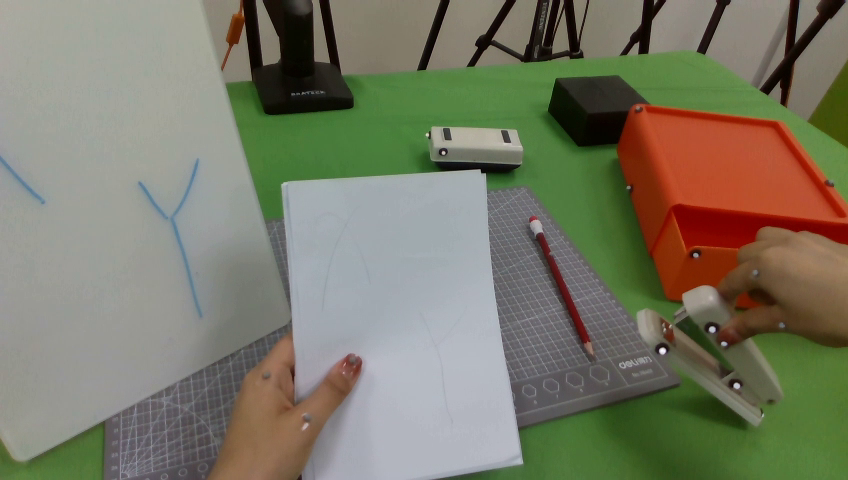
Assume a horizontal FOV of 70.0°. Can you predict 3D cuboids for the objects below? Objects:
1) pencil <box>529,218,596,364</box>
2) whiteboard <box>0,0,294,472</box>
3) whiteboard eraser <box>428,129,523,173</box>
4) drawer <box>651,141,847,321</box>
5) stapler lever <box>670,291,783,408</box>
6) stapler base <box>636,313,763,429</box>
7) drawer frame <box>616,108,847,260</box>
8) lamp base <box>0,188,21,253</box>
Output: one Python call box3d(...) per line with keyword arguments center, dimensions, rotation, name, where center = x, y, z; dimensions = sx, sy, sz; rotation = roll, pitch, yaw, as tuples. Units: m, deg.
box3d(center=(0.134, 0.043, 0.595), dimensions=(0.012, 0.012, 0.192), rotation=(-2, 43, -10), name="pencil")
box3d(center=(-0.257, -0.037, 0.448), dimensions=(0.217, 0.308, 0.142), rotation=(-27, 31, -32), name="whiteboard")
box3d(center=(0.062, -0.109, 0.743), dimensions=(0.113, 0.042, 0.055), rotation=(2, 42, -7), name="whiteboard eraser")
box3d(center=(0.340, -0.019, 0.648), dimensions=(0.194, 0.074, 0.210), rotation=(6, 40, 0), name="drawer")
box3d(center=(0.242, 0.084, 0.472), dimensions=(0.118, 0.040, 0.026), rotation=(37, 35, -11), name="stapler lever")
box3d(center=(0.226, 0.100, 0.485), dimensions=(0.131, 0.024, 0.041), rotation=(37, 35, -11), name="stapler base")
box3d(center=(0.343, -0.060, 0.695), dimensions=(0.202, 0.083, 0.211), rotation=(5, 39, -1), name="drawer frame")
box3d(center=(-0.466, -0.068, 0.506), dimensions=(0.178, 0.182, 0.160), rotation=(17, 41, 15), name="lamp base")
